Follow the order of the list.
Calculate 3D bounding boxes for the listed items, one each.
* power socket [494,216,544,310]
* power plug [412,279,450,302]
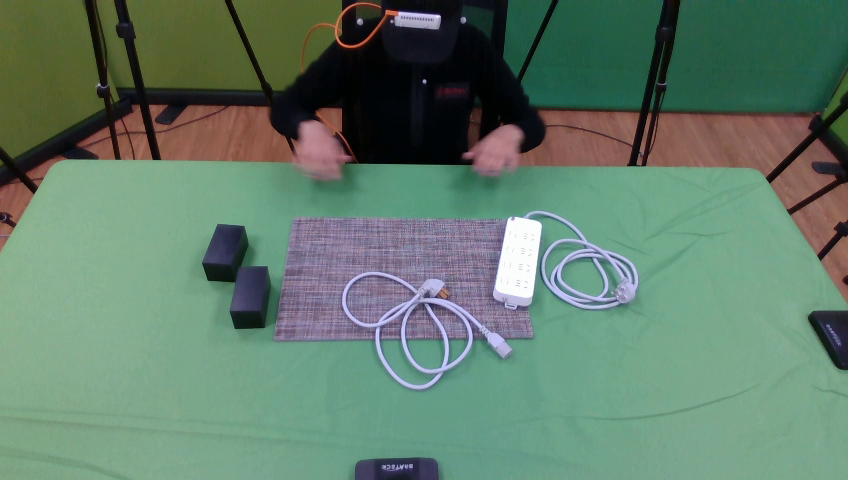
[{"bbox_3d":[0.184,0.037,1.161,0.072,0.033,0.225,12,46,7],"label":"power socket"},{"bbox_3d":[0.013,0.101,1.092,0.052,0.035,0.072,39,67,-1],"label":"power plug"}]
